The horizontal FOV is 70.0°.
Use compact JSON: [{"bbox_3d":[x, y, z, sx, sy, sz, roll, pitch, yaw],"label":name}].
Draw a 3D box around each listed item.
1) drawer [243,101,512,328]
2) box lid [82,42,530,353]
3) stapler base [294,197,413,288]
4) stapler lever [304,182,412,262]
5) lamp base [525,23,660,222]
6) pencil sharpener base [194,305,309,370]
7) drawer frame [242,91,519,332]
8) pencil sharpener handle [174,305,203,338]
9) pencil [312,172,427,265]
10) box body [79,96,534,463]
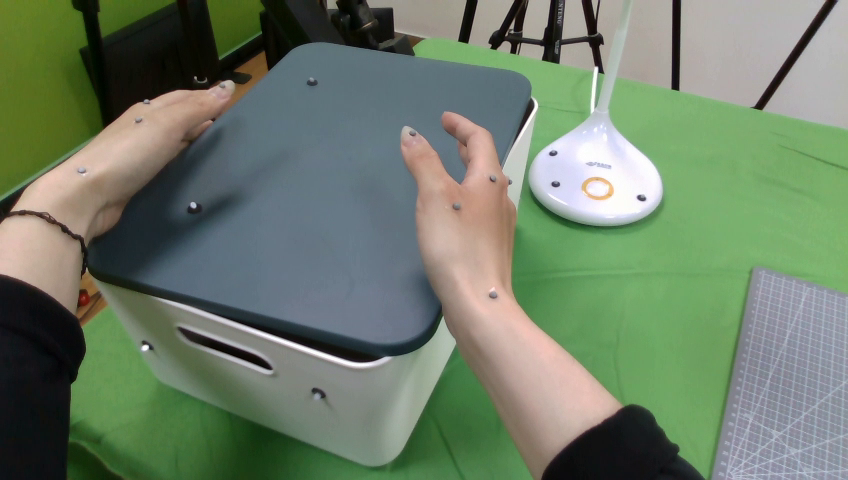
[{"bbox_3d":[-0.035,-0.039,0.598,0.194,0.074,0.211,25,40,8],"label":"drawer"},{"bbox_3d":[-0.070,-0.071,0.515,0.262,0.015,0.369,13,45,13],"label":"box lid"},{"bbox_3d":[-0.065,-0.005,0.578,0.129,0.024,0.041,35,40,20],"label":"stapler base"},{"bbox_3d":[-0.061,-0.023,0.562,0.117,0.040,0.027,36,41,20],"label":"stapler lever"},{"bbox_3d":[0.204,-0.141,0.696,0.160,0.182,0.177,2,41,2],"label":"lamp base"},{"bbox_3d":[-0.148,0.063,0.526,0.076,0.108,0.061,10,45,10],"label":"pencil sharpener base"},{"bbox_3d":[-0.034,-0.041,0.600,0.201,0.083,0.212,25,41,7],"label":"drawer frame"},{"bbox_3d":[-0.200,0.049,0.517,0.030,0.068,0.036,10,10,10],"label":"pencil sharpener handle"},{"bbox_3d":[-0.058,-0.024,0.602,0.012,0.012,0.192,-30,48,-28],"label":"pencil"},{"bbox_3d":[-0.071,-0.009,0.569,0.253,0.162,0.362,16,46,16],"label":"box body"}]
